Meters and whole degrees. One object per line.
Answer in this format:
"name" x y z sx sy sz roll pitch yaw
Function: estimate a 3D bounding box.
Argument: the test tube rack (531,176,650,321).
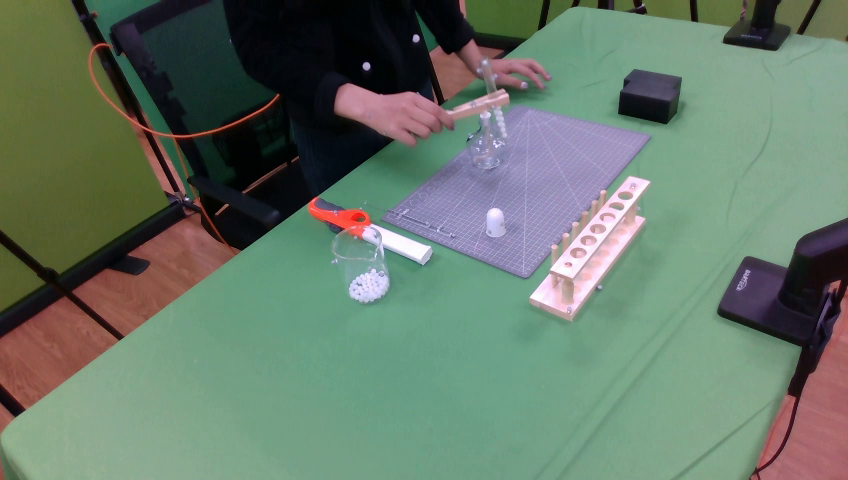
"test tube rack" 0.246 0.002 0.884 0.066 0.085 0.243 22 49 32

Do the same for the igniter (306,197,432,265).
"igniter" -0.102 -0.020 1.019 0.274 0.025 0.057 23 59 32

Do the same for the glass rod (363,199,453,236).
"glass rod" -0.031 -0.041 1.041 0.198 0.008 0.008 22 50 31

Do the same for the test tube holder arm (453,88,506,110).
"test tube holder arm" 0.087 -0.215 0.946 0.088 0.015 0.010 -23 40 -6

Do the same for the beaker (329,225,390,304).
"beaker" -0.089 0.040 0.890 0.074 0.101 0.083 -32 46 -24

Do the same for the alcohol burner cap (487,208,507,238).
"alcohol burner cap" 0.116 -0.030 0.975 0.034 0.048 0.033 -6 40 5

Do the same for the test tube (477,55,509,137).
"test tube" 0.110 -0.221 0.943 0.017 0.151 0.017 -13 45 14

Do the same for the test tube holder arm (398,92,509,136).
"test tube holder arm" 0.046 -0.196 0.940 0.178 0.015 0.013 -19 39 -1

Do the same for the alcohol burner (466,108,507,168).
"alcohol burner" 0.115 -0.193 1.112 0.078 0.119 0.077 -4 41 4
